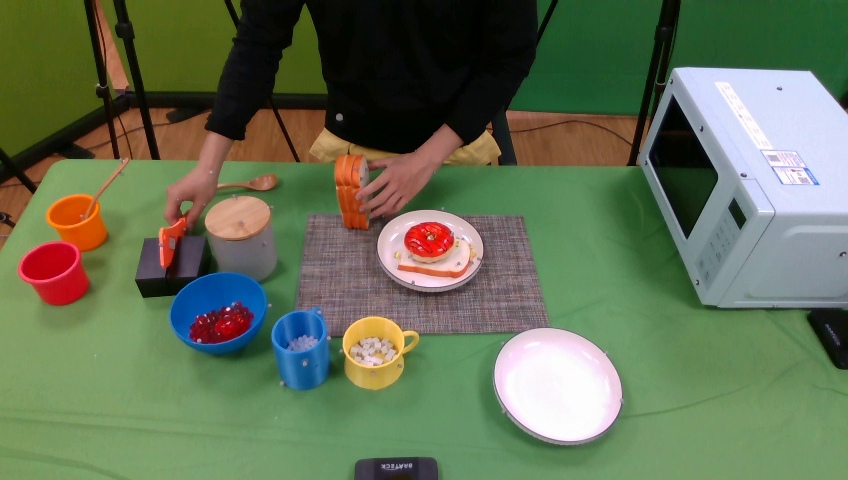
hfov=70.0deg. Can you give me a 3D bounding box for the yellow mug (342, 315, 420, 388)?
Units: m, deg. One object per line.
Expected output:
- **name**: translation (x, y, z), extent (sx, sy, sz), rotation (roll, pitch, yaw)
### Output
- **yellow mug**: translation (-0.068, 0.177, 0.991), extent (0.131, 0.064, 0.099), rotation (-15, 50, -19)

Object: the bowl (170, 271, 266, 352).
- **bowl**: translation (-0.334, 0.132, 1.006), extent (0.151, 0.077, 0.150), rotation (2, 46, -2)

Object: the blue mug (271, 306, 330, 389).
- **blue mug**: translation (-0.188, 0.163, 0.969), extent (0.082, 0.106, 0.116), rotation (15, 47, 10)

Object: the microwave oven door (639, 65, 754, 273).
- **microwave oven door**: translation (0.522, -0.147, 1.193), extent (0.039, 0.245, 0.353), rotation (0, 47, -3)

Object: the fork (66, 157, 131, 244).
- **fork**: translation (-0.608, -0.074, 1.132), extent (0.207, 0.019, 0.028), rotation (-52, 48, 10)

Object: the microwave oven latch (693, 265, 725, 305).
- **microwave oven latch**: translation (0.522, 0.081, 1.115), extent (0.030, 0.029, 0.078), rotation (2, 46, -1)

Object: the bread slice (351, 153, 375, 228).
- **bread slice**: translation (-0.120, -0.103, 1.207), extent (0.018, 0.135, 0.106), rotation (-3, 47, 7)

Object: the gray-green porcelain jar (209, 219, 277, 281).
- **gray-green porcelain jar**: translation (-0.323, 0.007, 1.092), extent (0.106, 0.127, 0.105), rotation (2, 46, -2)

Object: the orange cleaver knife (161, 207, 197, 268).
- **orange cleaver knife**: translation (-0.454, -0.010, 1.128), extent (0.012, 0.077, 0.210), rotation (-1, 18, -5)

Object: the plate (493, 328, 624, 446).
- **plate**: translation (0.213, 0.236, 0.974), extent (0.208, 0.039, 0.206), rotation (2, 46, -2)

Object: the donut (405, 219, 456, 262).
- **donut**: translation (0.012, -0.001, 1.140), extent (0.099, 0.048, 0.098), rotation (0, 44, 0)

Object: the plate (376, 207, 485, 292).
- **plate**: translation (0.012, 0.021, 1.159), extent (0.209, 0.038, 0.208), rotation (2, 47, -2)

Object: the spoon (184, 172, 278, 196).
- **spoon**: translation (-0.405, -0.117, 1.275), extent (0.194, 0.022, 0.041), rotation (-8, 66, -12)

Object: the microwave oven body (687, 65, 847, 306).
- **microwave oven body**: translation (0.669, -0.111, 1.176), extent (0.326, 0.261, 0.439), rotation (0, 46, -3)

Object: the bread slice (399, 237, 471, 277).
- **bread slice**: translation (0.025, 0.025, 1.161), extent (0.131, 0.019, 0.104), rotation (7, 47, 8)

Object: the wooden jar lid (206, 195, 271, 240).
- **wooden jar lid**: translation (-0.319, -0.036, 1.046), extent (0.108, 0.021, 0.107), rotation (1, 44, 0)
